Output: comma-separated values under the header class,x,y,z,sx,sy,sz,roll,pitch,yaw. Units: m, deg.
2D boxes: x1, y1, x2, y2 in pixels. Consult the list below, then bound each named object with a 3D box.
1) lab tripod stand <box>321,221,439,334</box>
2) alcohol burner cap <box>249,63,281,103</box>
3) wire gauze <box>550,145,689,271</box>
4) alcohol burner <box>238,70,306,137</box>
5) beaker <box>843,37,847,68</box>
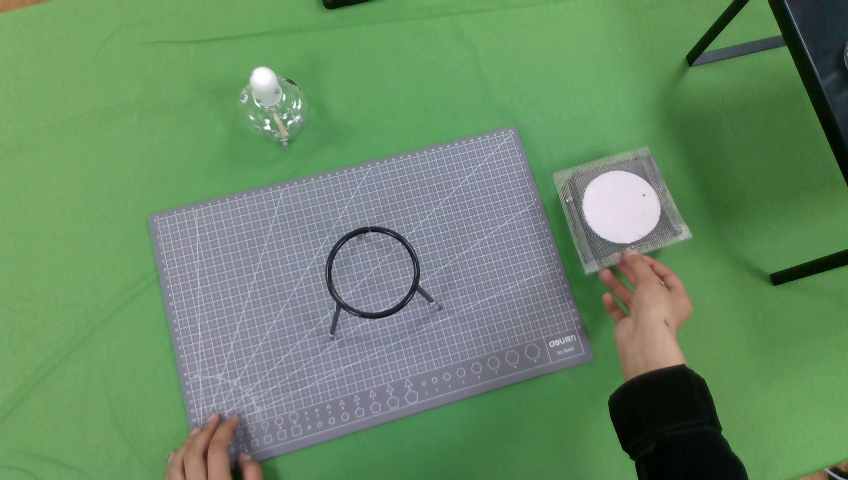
class,x,y,z,sx,sy,sz,roll,pitch,yaw
lab tripod stand,-0.050,0.040,0.632,0.148,0.132,0.147,1,76,-5
alcohol burner cap,-0.172,-0.170,0.649,0.034,0.048,0.033,1,81,-8
wire gauze,0.218,-0.040,0.683,0.121,0.011,0.124,-16,74,-2
alcohol burner,-0.173,-0.163,0.683,0.078,0.119,0.077,1,77,-5
beaker,0.447,-0.190,0.554,0.084,0.100,0.073,-28,80,-9
